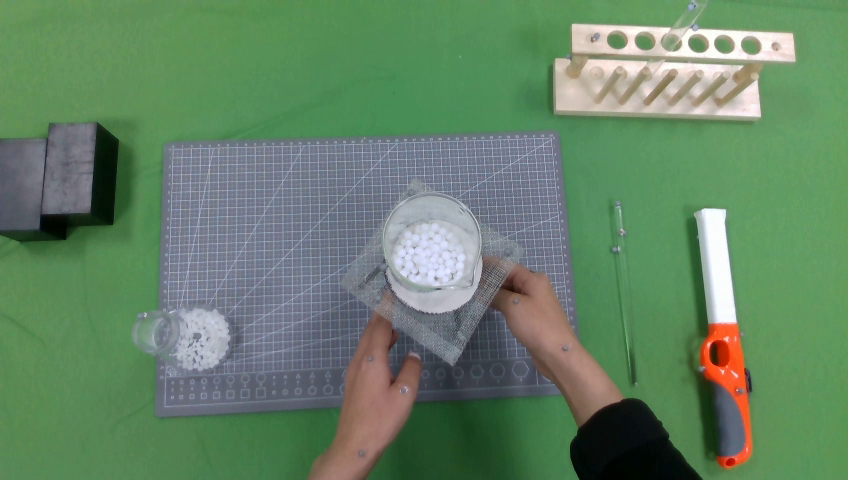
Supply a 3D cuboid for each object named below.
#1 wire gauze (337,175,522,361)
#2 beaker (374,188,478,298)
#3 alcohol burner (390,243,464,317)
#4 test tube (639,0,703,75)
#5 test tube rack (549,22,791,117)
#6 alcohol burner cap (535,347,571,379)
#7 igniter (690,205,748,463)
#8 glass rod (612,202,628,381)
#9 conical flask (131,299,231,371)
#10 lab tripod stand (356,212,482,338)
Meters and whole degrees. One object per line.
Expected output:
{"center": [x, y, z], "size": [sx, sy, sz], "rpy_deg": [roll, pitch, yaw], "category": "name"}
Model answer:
{"center": [0.005, 0.022, 0.536], "size": [0.125, 0.011, 0.121], "rpy_deg": [35, 82, 3], "category": "wire gauze"}
{"center": [0.004, 0.010, 0.490], "size": [0.074, 0.100, 0.084], "rpy_deg": [-41, 83, -9], "category": "beaker"}
{"center": [0.003, 0.038, 0.610], "size": [0.078, 0.119, 0.077], "rpy_deg": [0, 79, 0], "category": "alcohol burner"}
{"center": [0.257, -0.214, 0.638], "size": [0.017, 0.151, 0.017], "rpy_deg": [0, 78, 1], "category": "test tube"}
{"center": [0.272, -0.190, 0.684], "size": [0.242, 0.085, 0.066], "rpy_deg": [1, 78, -2], "category": "test tube rack"}
{"center": [0.137, 0.128, 0.635], "size": [0.034, 0.048, 0.033], "rpy_deg": [1, 78, -3], "category": "alcohol burner cap"}
{"center": [0.320, 0.097, 0.660], "size": [0.057, 0.025, 0.275], "rpy_deg": [2, 79, -13], "category": "igniter"}
{"center": [0.218, 0.055, 0.673], "size": [0.008, 0.008, 0.199], "rpy_deg": [0, 81, -3], "category": "glass rod"}
{"center": [-0.238, 0.089, 0.585], "size": [0.075, 0.122, 0.075], "rpy_deg": [1, 78, -2], "category": "conical flask"}
{"center": [0.001, 0.033, 0.601], "size": [0.148, 0.132, 0.148], "rpy_deg": [0, 80, -1], "category": "lab tripod stand"}
